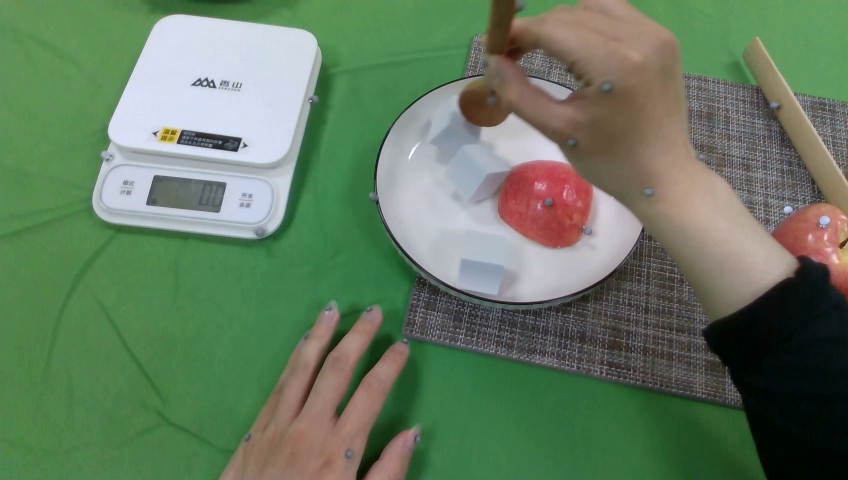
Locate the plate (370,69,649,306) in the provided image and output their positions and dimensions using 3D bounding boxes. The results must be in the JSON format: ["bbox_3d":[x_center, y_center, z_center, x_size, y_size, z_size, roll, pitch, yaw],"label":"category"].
[{"bbox_3d":[0.064,-0.042,0.470,0.209,0.038,0.207,1,63,-2],"label":"plate"}]

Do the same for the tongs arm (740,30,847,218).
[{"bbox_3d":[0.345,-0.018,0.476,0.028,0.028,0.384,-10,64,-12],"label":"tongs arm"}]

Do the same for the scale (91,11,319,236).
[{"bbox_3d":[-0.175,-0.102,0.498,0.148,0.032,0.199,7,64,1],"label":"scale"}]

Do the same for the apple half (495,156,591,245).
[{"bbox_3d":[0.093,-0.039,0.465,0.081,0.033,0.080,2,64,-5],"label":"apple half"}]

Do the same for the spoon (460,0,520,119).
[{"bbox_3d":[0.045,-0.112,0.379,0.041,0.194,0.021,15,87,3],"label":"spoon"}]

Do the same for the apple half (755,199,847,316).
[{"bbox_3d":[0.269,0.019,0.429,0.053,0.075,0.080,-24,70,-9],"label":"apple half"}]
